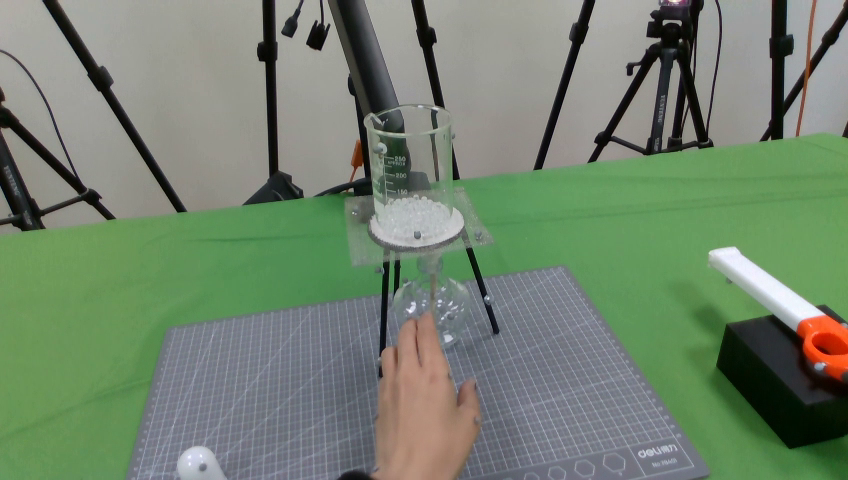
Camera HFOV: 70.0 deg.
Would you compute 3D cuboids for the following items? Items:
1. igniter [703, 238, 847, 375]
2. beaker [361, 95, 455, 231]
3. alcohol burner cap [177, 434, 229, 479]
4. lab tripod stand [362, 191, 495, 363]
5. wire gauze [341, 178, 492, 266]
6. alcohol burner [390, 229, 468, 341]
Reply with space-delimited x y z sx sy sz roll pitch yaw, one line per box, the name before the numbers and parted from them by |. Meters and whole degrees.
igniter | 0.328 0.069 0.507 0.057 0.025 0.273 -10 29 -8
beaker | -0.014 -0.066 0.522 0.074 0.101 0.083 -29 40 -36
alcohol burner cap | -0.171 0.170 0.466 0.034 0.048 0.033 -2 33 2
lab tripod stand | -0.004 0.029 0.586 0.148 0.132 0.147 -1 31 1
wire gauze | -0.012 -0.024 0.547 0.121 0.011 0.123 -8 35 -7
alcohol burner | 0.005 0.039 0.588 0.078 0.120 0.077 -1 34 1
